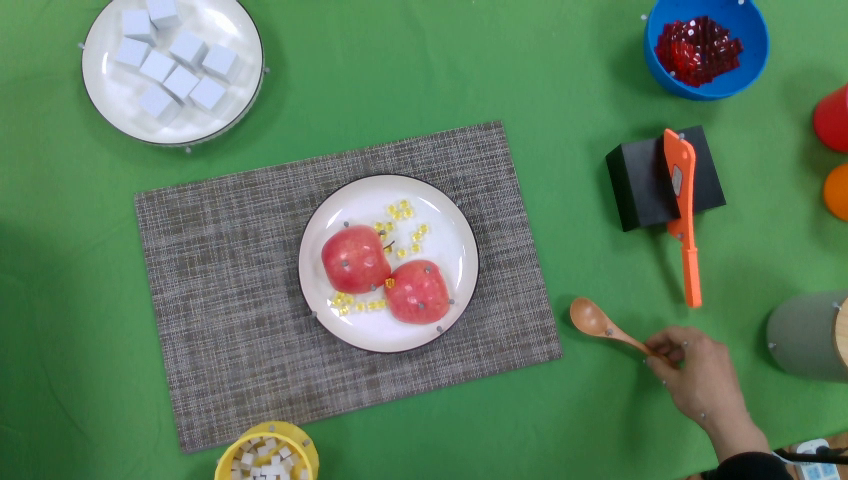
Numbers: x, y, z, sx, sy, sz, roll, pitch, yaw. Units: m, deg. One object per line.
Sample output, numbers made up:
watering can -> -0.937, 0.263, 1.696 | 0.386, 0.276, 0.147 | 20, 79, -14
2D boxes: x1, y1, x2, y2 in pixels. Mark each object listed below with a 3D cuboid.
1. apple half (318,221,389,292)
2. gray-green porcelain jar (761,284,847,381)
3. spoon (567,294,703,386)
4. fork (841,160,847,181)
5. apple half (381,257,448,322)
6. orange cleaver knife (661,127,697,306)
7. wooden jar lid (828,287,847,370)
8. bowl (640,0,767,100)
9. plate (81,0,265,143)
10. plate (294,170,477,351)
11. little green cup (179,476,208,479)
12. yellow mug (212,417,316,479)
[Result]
apple half -> -0.082, 0.018, 0.685 | 0.075, 0.053, 0.080 | -15, 84, -4
gray-green porcelain jar -> 0.463, 0.105, 0.690 | 0.106, 0.126, 0.105 | 1, 82, -4
spoon -> 0.252, 0.124, 0.724 | 0.194, 0.022, 0.041 | 31, 65, 1
fork -> 0.546, -0.032, 0.703 | 0.028, 0.019, 0.205 | 4, 38, -4
apple half -> -0.011, 0.057, 0.695 | 0.081, 0.033, 0.081 | 0, 80, -2
orange cleaver knife -> 0.300, -0.027, 0.718 | 0.012, 0.076, 0.212 | -11, 107, -2
wooden jar lid -> 0.467, 0.095, 0.627 | 0.108, 0.021, 0.108 | 0, 82, -2
bowl -> 0.330, -0.236, 0.750 | 0.151, 0.077, 0.151 | 1, 83, -4
plate -> -0.292, -0.212, 0.720 | 0.208, 0.039, 0.207 | 1, 82, -4
plate -> -0.044, 0.024, 0.703 | 0.209, 0.038, 0.208 | 1, 83, -5
little green cup -> -0.254, 0.286, 0.654 | 0.061, 0.038, 0.061 | 0, 84, -4
yellow mug -> -0.169, 0.262, 0.650 | 0.100, 0.064, 0.130 | -1, 86, -6
